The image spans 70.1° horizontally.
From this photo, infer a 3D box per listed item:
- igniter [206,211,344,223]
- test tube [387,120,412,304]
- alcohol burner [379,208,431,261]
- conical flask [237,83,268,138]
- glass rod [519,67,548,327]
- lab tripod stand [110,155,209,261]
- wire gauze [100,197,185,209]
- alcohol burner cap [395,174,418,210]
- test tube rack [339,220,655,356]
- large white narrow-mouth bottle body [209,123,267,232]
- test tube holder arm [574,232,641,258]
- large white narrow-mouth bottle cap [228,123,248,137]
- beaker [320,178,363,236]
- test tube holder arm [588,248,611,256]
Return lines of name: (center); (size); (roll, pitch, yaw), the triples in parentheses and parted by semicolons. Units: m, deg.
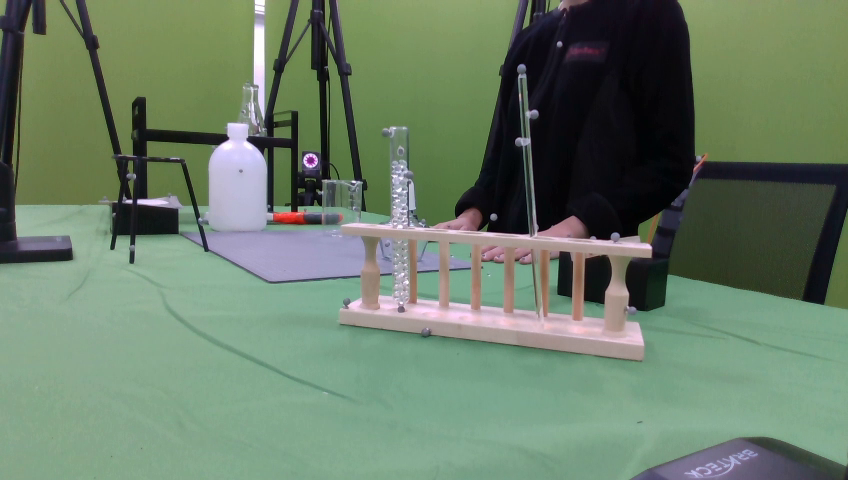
igniter: (-0.302, -0.048, 1.249); (0.278, 0.025, 0.057); (-2, -2, -26)
test tube: (-0.019, -0.021, 0.488); (0.017, 0.150, 0.017); (-1, 13, 1)
alcohol burner: (-0.027, -0.031, 0.838); (0.078, 0.119, 0.078); (0, 6, 0)
conical flask: (-0.402, -0.299, 1.406); (0.075, 0.122, 0.075); (2, 7, 0)
glass rod: (0.084, -0.029, 0.459); (0.008, 0.199, 0.008); (-7, 11, 2)
lab tripod stand: (-0.361, -0.046, 0.806); (0.148, 0.131, 0.148); (2, 5, 0)
wire gauze: (-0.469, -0.062, 1.008); (0.126, 0.011, 0.121); (-2, 8, -25)
alcohol burner cap: (-0.026, -0.067, 0.833); (0.034, 0.048, 0.034); (-2, 12, 1)
test tube rack: (0.056, 0.032, 0.495); (0.242, 0.085, 0.067); (4, 7, 15)
large white narrow-mouth bottle body: (-0.340, -0.115, 1.109); (0.102, 0.194, 0.102); (2, 8, 0)
test tube holder arm: (0.202, 0.003, 0.651); (0.013, 0.015, 0.179); (-3, 2, 36)
large white narrow-mouth bottle cap: (-0.338, -0.199, 1.097); (0.038, 0.024, 0.037); (2, 8, 0)
beaker: (-0.145, -0.059, 1.078); (0.074, 0.100, 0.083); (-4, 10, -36)
test tube holder arm: (0.180, 0.006, 0.611); (0.010, 0.015, 0.088); (-3, 2, 36)
